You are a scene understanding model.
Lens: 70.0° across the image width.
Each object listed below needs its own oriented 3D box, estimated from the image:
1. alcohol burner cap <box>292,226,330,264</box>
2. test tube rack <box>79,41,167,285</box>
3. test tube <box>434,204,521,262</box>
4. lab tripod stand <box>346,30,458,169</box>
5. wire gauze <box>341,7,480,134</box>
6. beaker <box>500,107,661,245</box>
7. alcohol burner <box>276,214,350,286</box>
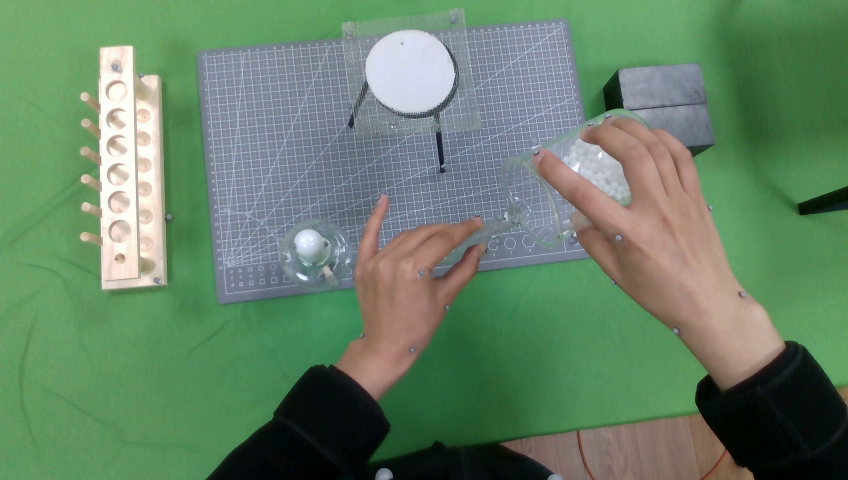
[{"bbox_3d":[-0.113,0.003,0.597,0.034,0.048,0.033,0,76,1],"label":"alcohol burner cap"},{"bbox_3d":[-0.326,-0.078,0.646,0.067,0.085,0.241,-4,82,-4],"label":"test tube rack"},{"bbox_3d":[0.044,-0.003,0.550,0.017,0.150,0.017,6,73,-22],"label":"test tube"},{"bbox_3d":[-0.015,-0.158,0.655,0.148,0.132,0.148,1,80,-3],"label":"lab tripod stand"},{"bbox_3d":[-0.013,-0.164,0.588,0.125,0.011,0.121,-6,82,-5],"label":"wire gauze"},{"bbox_3d":[0.118,-0.050,0.457,0.100,0.084,0.074,-27,83,-12],"label":"beaker"},{"bbox_3d":[-0.117,0.008,0.632,0.078,0.119,0.077,1,80,-5],"label":"alcohol burner"}]
